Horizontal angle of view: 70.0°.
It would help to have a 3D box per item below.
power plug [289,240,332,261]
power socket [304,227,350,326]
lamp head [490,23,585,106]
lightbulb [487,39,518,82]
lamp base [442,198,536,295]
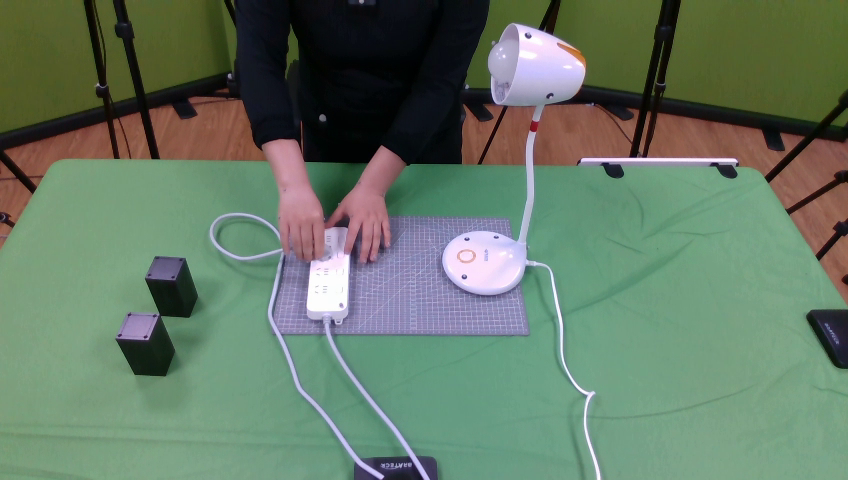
[{"bbox_3d":[-0.207,0.021,1.123,0.072,0.053,0.035,8,45,5],"label":"power plug"},{"bbox_3d":[-0.176,0.058,1.116,0.072,0.033,0.225,-1,46,-4],"label":"power socket"},{"bbox_3d":[0.166,-0.241,0.872,0.123,0.113,0.111,9,43,-17],"label":"lamp head"},{"bbox_3d":[0.143,-0.252,0.865,0.108,0.060,0.059,9,45,-7],"label":"lightbulb"},{"bbox_3d":[0.130,-0.012,1.105,0.179,0.181,0.159,-1,46,-9],"label":"lamp base"}]
